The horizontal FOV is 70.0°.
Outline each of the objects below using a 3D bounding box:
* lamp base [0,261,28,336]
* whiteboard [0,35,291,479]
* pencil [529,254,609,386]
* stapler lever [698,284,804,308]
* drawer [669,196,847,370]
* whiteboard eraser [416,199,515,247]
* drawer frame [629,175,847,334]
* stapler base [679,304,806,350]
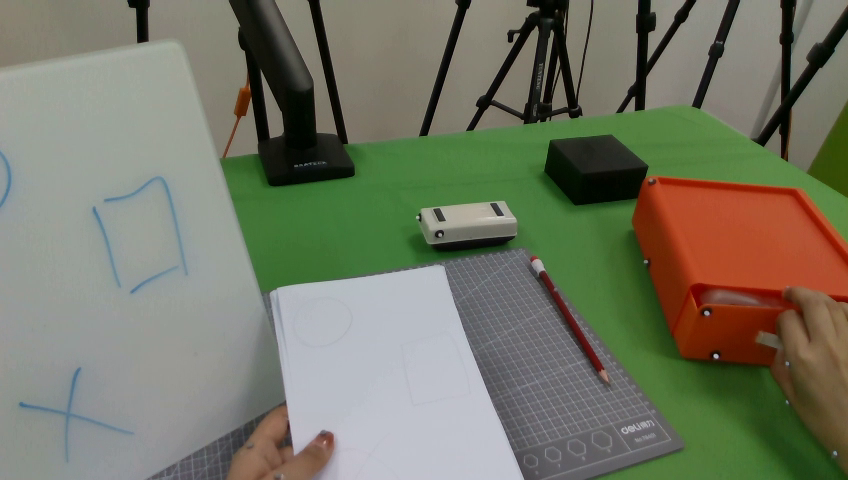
[{"bbox_3d":[-0.473,0.003,0.528,0.178,0.182,0.160,14,37,17],"label":"lamp base"},{"bbox_3d":[-0.264,0.024,0.464,0.217,0.307,0.142,-25,26,-33],"label":"whiteboard"},{"bbox_3d":[0.148,0.077,0.633,0.012,0.012,0.192,-6,39,-13],"label":"pencil"},{"bbox_3d":[0.332,0.066,0.605,0.118,0.040,0.026,6,40,-5],"label":"stapler lever"},{"bbox_3d":[0.353,0.036,0.653,0.194,0.074,0.210,4,35,2],"label":"drawer"},{"bbox_3d":[0.050,-0.019,0.734,0.113,0.042,0.055,-5,37,-13],"label":"whiteboard eraser"},{"bbox_3d":[0.355,0.018,0.677,0.202,0.083,0.211,4,35,1],"label":"drawer frame"},{"bbox_3d":[0.328,0.083,0.617,0.131,0.024,0.041,9,40,-7],"label":"stapler base"}]
